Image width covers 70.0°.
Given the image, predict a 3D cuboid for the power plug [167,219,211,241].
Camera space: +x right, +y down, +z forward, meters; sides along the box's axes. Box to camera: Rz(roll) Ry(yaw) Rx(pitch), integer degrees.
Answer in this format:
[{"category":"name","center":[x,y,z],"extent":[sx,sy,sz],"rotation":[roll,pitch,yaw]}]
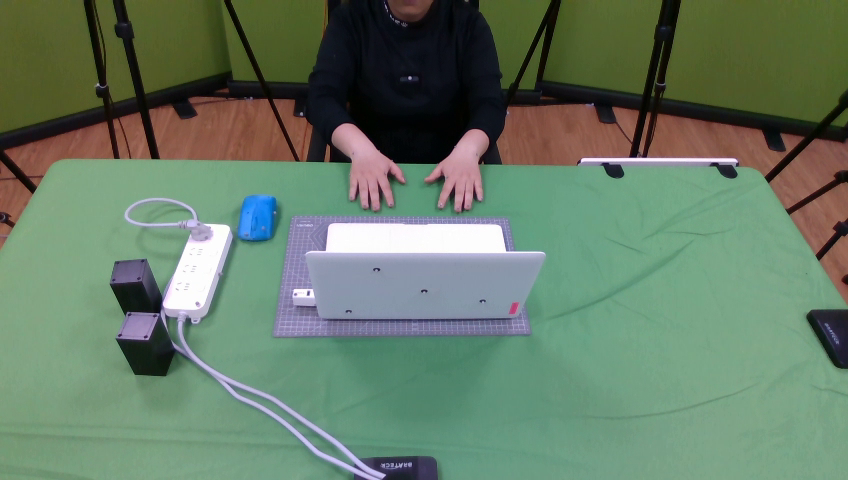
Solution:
[{"category":"power plug","center":[-0.438,-0.017,1.143],"extent":[0.072,0.053,0.035],"rotation":[11,44,7]}]

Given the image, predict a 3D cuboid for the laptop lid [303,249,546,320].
[{"category":"laptop lid","center":[-0.003,0.077,0.961],"extent":[0.357,0.242,0.013],"rotation":[1,58,-5]}]

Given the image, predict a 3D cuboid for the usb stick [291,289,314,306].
[{"category":"usb stick","center":[-0.203,0.102,1.066],"extent":[0.059,0.027,0.021],"rotation":[4,45,-5]}]

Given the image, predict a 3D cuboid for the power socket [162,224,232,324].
[{"category":"power socket","center":[-0.411,0.052,1.106],"extent":[0.072,0.033,0.225],"rotation":[3,45,-1]}]

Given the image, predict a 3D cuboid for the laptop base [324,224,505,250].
[{"category":"laptop base","center":[-0.014,0.055,1.144],"extent":[0.355,0.023,0.234],"rotation":[0,42,-4]}]

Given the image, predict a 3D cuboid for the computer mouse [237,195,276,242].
[{"category":"computer mouse","center":[-0.333,-0.047,1.207],"extent":[0.063,0.041,0.116],"rotation":[3,50,-5]}]
